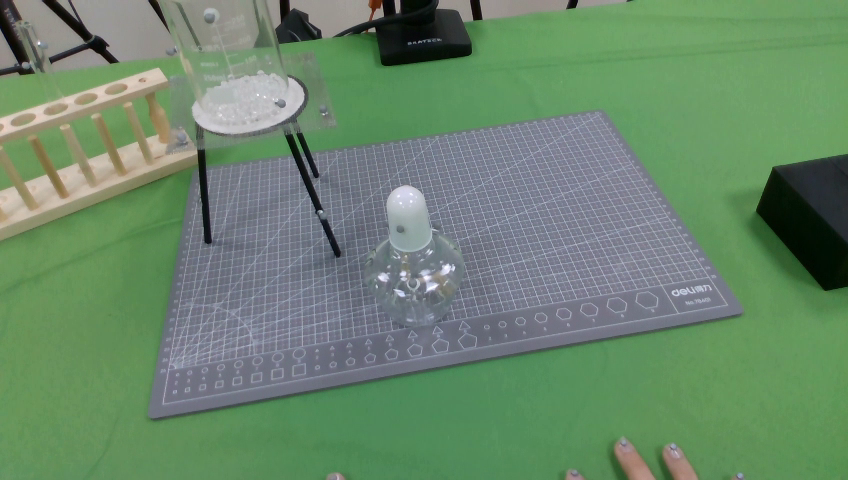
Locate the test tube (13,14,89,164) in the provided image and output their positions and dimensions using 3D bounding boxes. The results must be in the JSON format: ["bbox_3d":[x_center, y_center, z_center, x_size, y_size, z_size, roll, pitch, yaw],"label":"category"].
[{"bbox_3d":[-0.355,-0.139,0.582,0.017,0.151,0.017,0,38,1],"label":"test tube"}]

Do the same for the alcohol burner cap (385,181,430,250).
[{"bbox_3d":[-0.013,-0.020,0.429,0.034,0.048,0.033,-3,47,4],"label":"alcohol burner cap"}]

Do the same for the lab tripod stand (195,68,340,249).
[{"bbox_3d":[-0.135,-0.067,0.523,0.148,0.133,0.147,-3,47,3],"label":"lab tripod stand"}]

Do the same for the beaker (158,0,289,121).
[{"bbox_3d":[-0.145,-0.145,0.440,0.084,0.101,0.073,-8,44,-1],"label":"beaker"}]

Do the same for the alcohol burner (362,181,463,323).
[{"bbox_3d":[-0.010,0.006,0.454,0.078,0.120,0.077,-2,43,2],"label":"alcohol burner"}]

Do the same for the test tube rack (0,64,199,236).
[{"bbox_3d":[-0.359,-0.086,0.599,0.242,0.086,0.066,-26,49,-21],"label":"test tube rack"}]

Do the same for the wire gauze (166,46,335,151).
[{"bbox_3d":[-0.140,-0.113,0.477,0.125,0.011,0.120,-15,44,-6],"label":"wire gauze"}]
